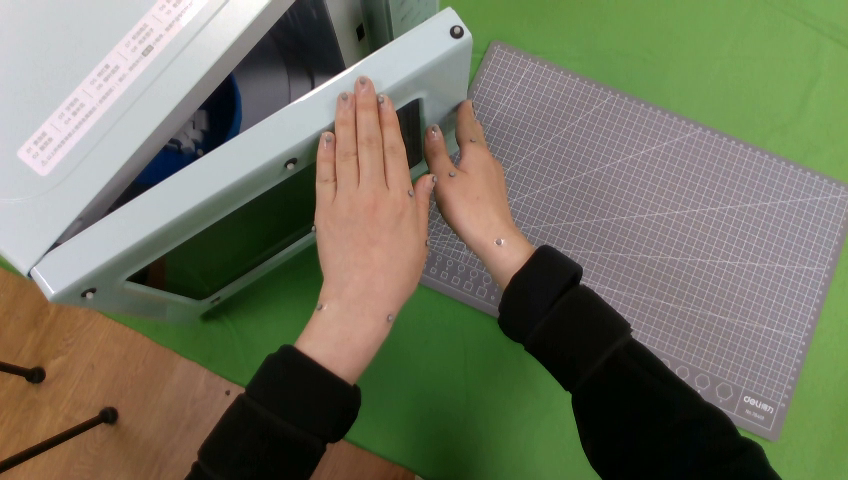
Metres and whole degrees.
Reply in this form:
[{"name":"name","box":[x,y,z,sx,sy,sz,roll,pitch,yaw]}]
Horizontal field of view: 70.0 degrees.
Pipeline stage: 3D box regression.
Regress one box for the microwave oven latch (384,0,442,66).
[{"name":"microwave oven latch","box":[-0.012,-0.236,0.682,0.030,0.029,0.079,40,83,7]}]

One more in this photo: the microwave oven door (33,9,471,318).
[{"name":"microwave oven door","box":[-0.117,-0.048,0.547,0.356,0.244,0.039,-33,80,-5]}]

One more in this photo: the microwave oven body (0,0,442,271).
[{"name":"microwave oven body","box":[-0.241,-0.207,0.581,0.325,0.261,0.441,38,83,6]}]
